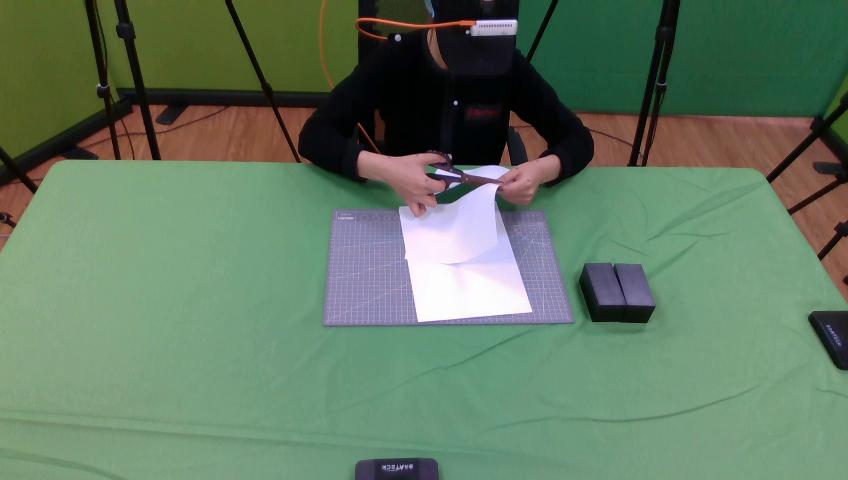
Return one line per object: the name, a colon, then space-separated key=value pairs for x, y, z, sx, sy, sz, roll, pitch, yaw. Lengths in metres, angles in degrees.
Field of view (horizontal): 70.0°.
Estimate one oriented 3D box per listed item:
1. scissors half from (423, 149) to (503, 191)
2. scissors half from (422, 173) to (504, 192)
scissors half: x=0.076 y=-0.135 z=1.192 sx=0.175 sy=0.040 sz=0.013 roll=28 pitch=40 yaw=11
scissors half: x=0.075 y=-0.116 z=1.203 sx=0.175 sy=0.040 sz=0.013 roll=2 pitch=26 yaw=27
